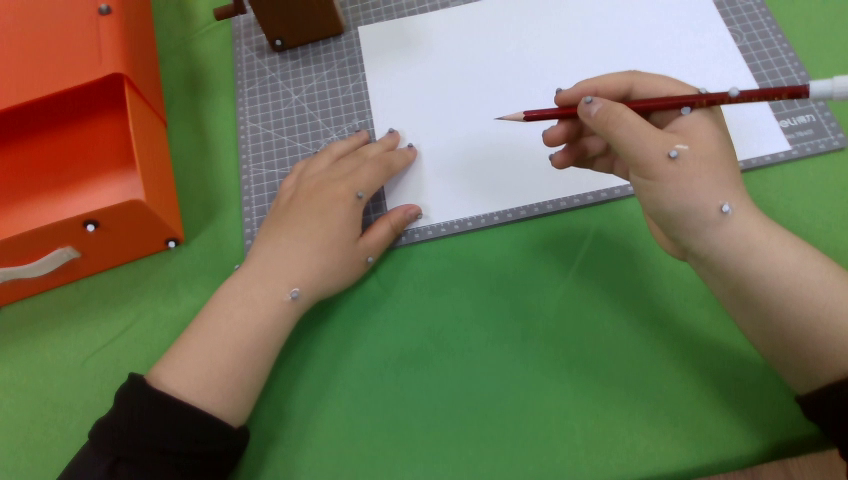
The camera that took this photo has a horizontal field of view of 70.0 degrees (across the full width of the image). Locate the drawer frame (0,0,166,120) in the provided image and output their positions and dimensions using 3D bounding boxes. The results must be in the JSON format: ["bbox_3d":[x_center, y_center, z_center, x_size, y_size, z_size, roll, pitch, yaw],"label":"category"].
[{"bbox_3d":[-0.343,-0.167,0.524,0.202,0.083,0.211,-19,63,-1],"label":"drawer frame"}]

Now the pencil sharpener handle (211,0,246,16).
[{"bbox_3d":[-0.169,-0.213,0.492,0.030,0.068,0.035,-18,61,0],"label":"pencil sharpener handle"}]

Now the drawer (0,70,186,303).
[{"bbox_3d":[-0.306,-0.068,0.475,0.194,0.074,0.209,-20,64,-1],"label":"drawer"}]

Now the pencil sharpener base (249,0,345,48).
[{"bbox_3d":[-0.119,-0.224,0.503,0.077,0.108,0.061,-18,64,0],"label":"pencil sharpener base"}]

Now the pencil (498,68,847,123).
[{"bbox_3d":[0.132,-0.076,0.333,0.193,0.012,0.012,-1,63,28],"label":"pencil"}]
